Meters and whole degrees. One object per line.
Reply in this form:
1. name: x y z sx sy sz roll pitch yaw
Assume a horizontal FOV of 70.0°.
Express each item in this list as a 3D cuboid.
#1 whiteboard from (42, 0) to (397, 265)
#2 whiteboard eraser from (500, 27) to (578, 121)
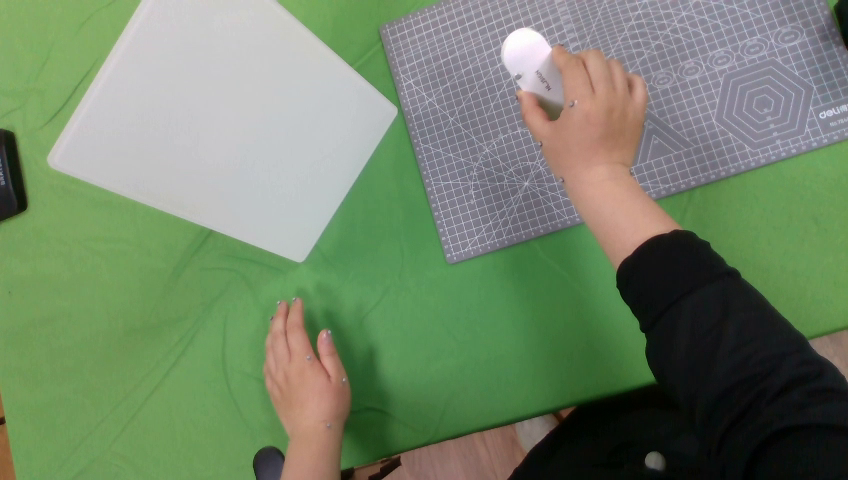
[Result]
1. whiteboard: -0.210 -0.135 0.626 0.142 0.308 0.217 35 93 34
2. whiteboard eraser: 0.107 -0.152 0.559 0.041 0.102 0.018 -37 36 14
